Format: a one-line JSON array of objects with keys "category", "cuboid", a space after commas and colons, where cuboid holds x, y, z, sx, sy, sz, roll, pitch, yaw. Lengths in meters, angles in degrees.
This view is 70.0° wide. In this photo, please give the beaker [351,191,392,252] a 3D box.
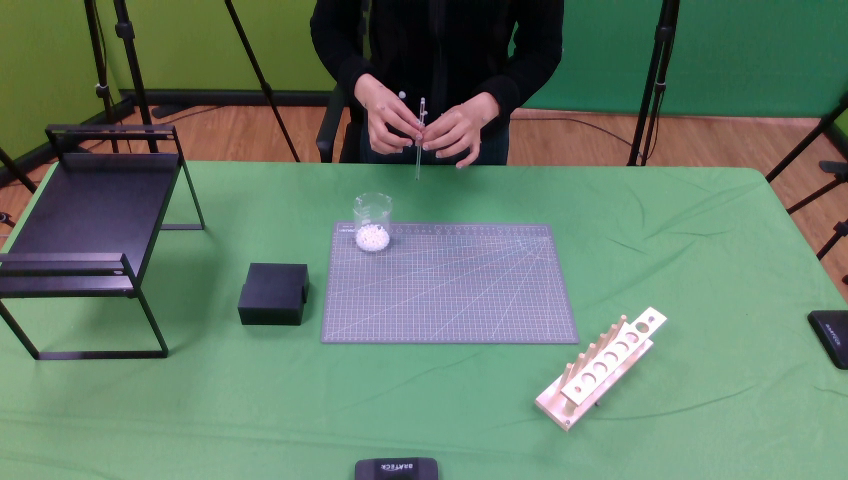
[{"category": "beaker", "cuboid": [-0.097, -0.034, 1.162, 0.084, 0.101, 0.073, -29, 55, -28]}]

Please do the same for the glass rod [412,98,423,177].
[{"category": "glass rod", "cuboid": [-0.011, -0.177, 1.079, 0.008, 0.200, 0.008, 2, 57, -4]}]

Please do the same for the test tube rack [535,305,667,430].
[{"category": "test tube rack", "cuboid": [0.290, 0.193, 0.984, 0.242, 0.085, 0.066, -32, 57, -30]}]
